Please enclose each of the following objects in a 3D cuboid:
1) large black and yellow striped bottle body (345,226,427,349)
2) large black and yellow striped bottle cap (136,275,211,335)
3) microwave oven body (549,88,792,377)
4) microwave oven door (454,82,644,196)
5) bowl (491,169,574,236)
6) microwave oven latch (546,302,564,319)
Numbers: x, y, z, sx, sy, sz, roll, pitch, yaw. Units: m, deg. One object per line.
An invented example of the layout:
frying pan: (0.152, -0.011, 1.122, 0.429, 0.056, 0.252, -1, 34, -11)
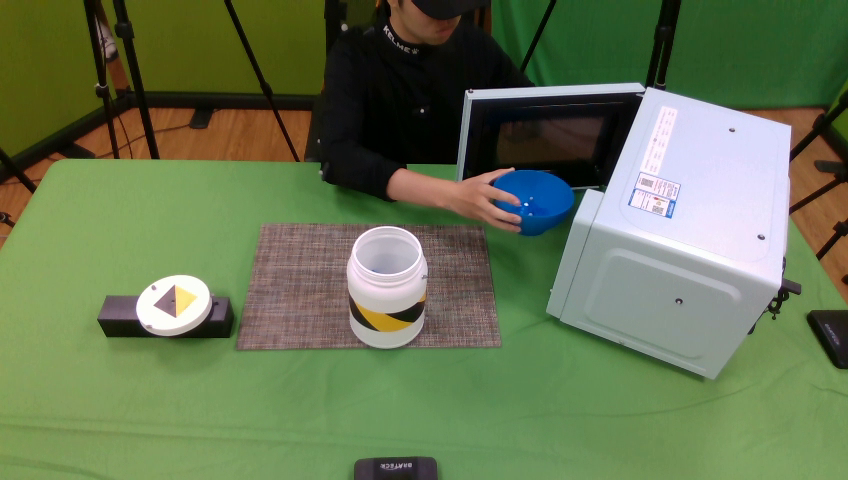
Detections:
large black and yellow striped bottle body: (-0.062, 0.078, 0.998, 0.131, 0.185, 0.130, 2, 46, -2)
large black and yellow striped bottle cap: (-0.412, 0.105, 0.999, 0.115, 0.019, 0.114, 3, 46, -3)
microwave oven body: (0.456, -0.028, 1.088, 0.325, 0.261, 0.440, 20, 47, 16)
microwave oven door: (0.247, -0.202, 1.233, 0.356, 0.245, 0.039, -5, 47, -8)
bowl: (0.201, -0.060, 1.135, 0.151, 0.077, 0.150, -3, 39, 2)
microwave oven latch: (0.242, 0.102, 1.081, 0.030, 0.029, 0.079, 22, 48, 17)
